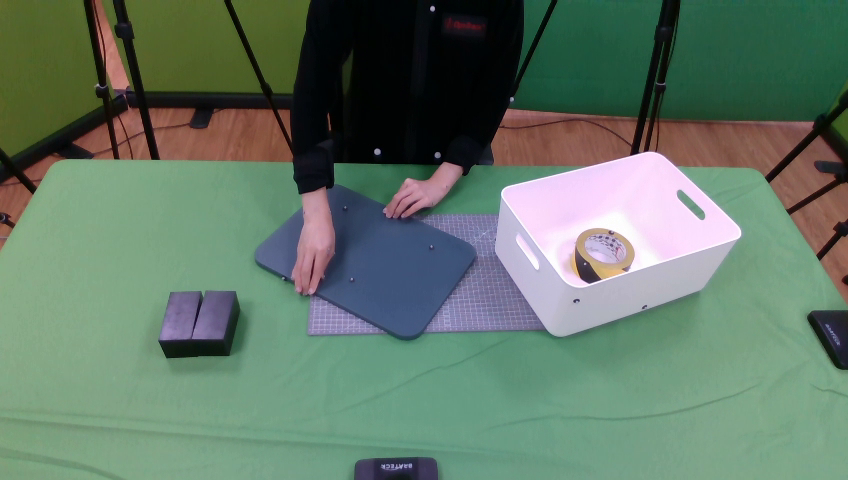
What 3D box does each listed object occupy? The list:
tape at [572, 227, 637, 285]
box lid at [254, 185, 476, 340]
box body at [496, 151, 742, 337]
[{"bbox_3d":[0.344,0.032,1.159,0.117,0.053,0.116,2,46,-2],"label":"tape"},{"bbox_3d":[-0.112,0.027,1.166,0.370,0.015,0.262,25,50,18],"label":"box lid"},{"bbox_3d":[0.340,0.003,1.118,0.364,0.161,0.252,-15,49,-18],"label":"box body"}]
